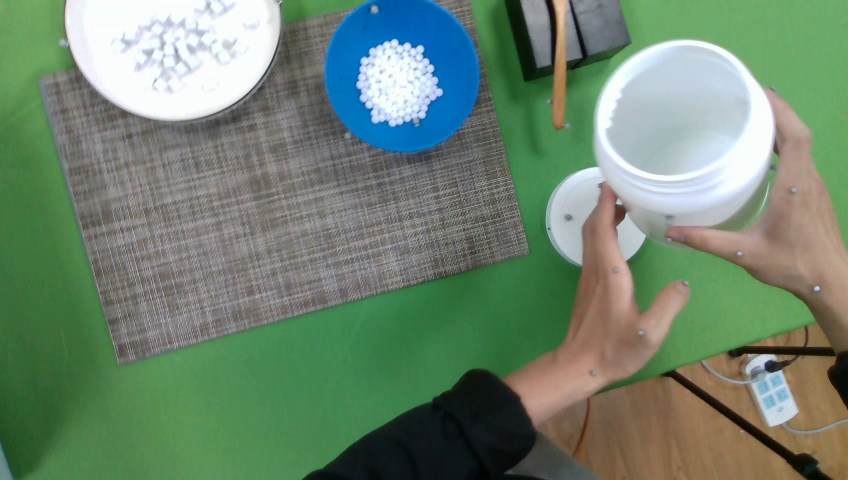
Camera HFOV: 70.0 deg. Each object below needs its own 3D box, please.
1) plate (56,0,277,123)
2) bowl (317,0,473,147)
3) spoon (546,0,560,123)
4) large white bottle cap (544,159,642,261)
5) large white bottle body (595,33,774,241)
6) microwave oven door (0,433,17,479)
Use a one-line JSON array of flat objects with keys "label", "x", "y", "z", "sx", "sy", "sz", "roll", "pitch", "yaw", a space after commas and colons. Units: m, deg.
[{"label": "plate", "x": -0.253, "y": -0.218, "z": 0.611, "sx": 0.209, "sy": 0.038, "sz": 0.209, "roll": 0, "pitch": 88, "yaw": -6}, {"label": "bowl", "x": -0.030, "y": -0.164, "z": 0.617, "sx": 0.151, "sy": 0.076, "sz": 0.151, "roll": 0, "pitch": 91, "yaw": -6}, {"label": "spoon", "x": 0.131, "y": -0.219, "z": 0.622, "sx": 0.042, "sy": 0.021, "sz": 0.194, "roll": -3, "pitch": 97, "yaw": -10}, {"label": "large white bottle cap", "x": 0.192, "y": -0.033, "z": 0.680, "sx": 0.115, "sy": 0.018, "sz": 0.115, "roll": 0, "pitch": 91, "yaw": -7}, {"label": "large white bottle body", "x": 0.219, "y": -0.080, "z": 0.513, "sx": 0.130, "sy": 0.186, "sz": 0.130, "roll": -6, "pitch": 75, "yaw": 25}, {"label": "microwave oven door", "x": -0.458, "y": 0.081, "z": 0.475, "sx": 0.039, "sy": 0.243, "sz": 0.356, "roll": -18, "pitch": 93, "yaw": -6}]
